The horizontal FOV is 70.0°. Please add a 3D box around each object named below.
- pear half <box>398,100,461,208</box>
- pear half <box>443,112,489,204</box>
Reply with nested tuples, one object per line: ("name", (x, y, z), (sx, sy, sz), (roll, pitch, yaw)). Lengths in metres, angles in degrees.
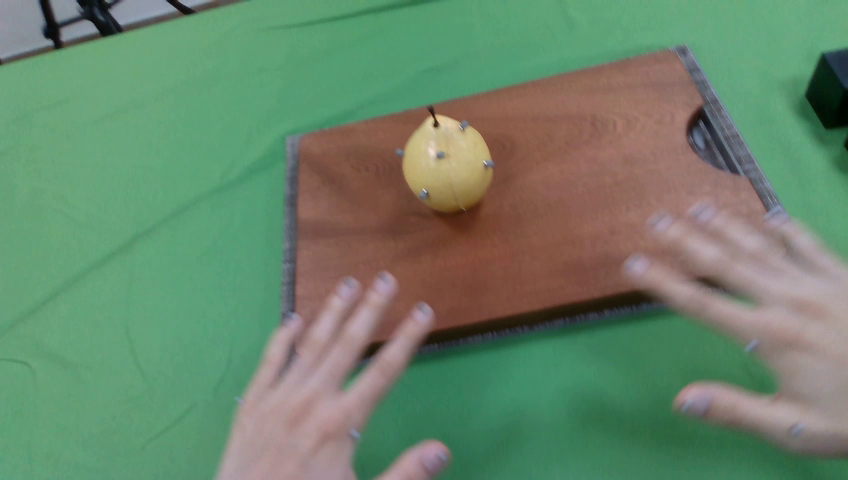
("pear half", (0.002, -0.077, 0.520), (0.056, 0.111, 0.075), (-5, 51, 12))
("pear half", (0.039, -0.073, 0.520), (0.031, 0.089, 0.070), (-6, 48, 12))
